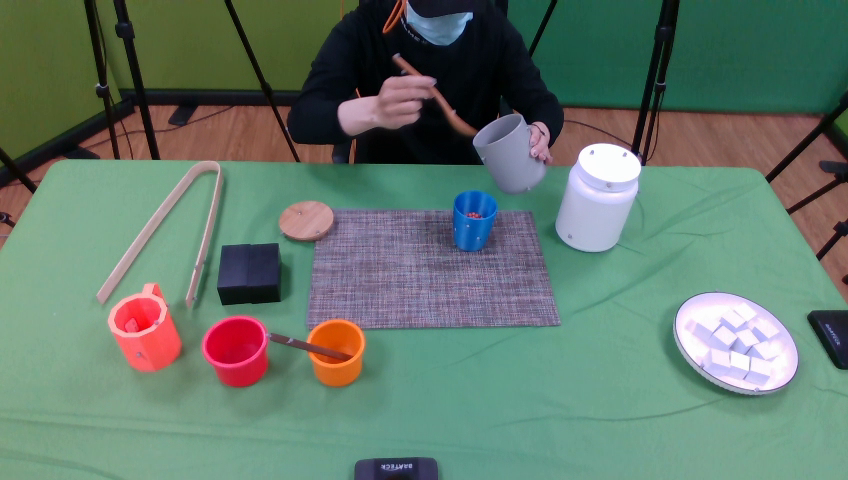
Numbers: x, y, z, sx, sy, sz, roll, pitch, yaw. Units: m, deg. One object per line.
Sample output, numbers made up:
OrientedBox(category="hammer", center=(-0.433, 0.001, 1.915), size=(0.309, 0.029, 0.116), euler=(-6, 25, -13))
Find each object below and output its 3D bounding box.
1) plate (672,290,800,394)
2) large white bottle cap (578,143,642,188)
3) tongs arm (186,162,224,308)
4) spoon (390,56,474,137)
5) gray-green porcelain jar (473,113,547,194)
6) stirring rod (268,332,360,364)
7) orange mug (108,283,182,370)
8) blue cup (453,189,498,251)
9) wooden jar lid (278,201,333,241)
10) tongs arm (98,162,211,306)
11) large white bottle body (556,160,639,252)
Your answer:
OrientedBox(category="plate", center=(0.533, 0.178, 1.050), size=(0.208, 0.039, 0.206), euler=(2, 46, -2))
OrientedBox(category="large white bottle cap", center=(0.344, -0.139, 1.123), size=(0.115, 0.018, 0.114), euler=(2, 46, -2))
OrientedBox(category="tongs arm", center=(-0.435, -0.025, 1.180), size=(0.051, 0.027, 0.382), euler=(-4, 46, 1))
OrientedBox(category="spoon", center=(0.014, -0.241, 1.030), size=(0.021, 0.194, 0.041), euler=(-45, 15, -2))
OrientedBox(category="gray-green porcelain jar", center=(0.168, -0.160, 1.155), size=(0.106, 0.127, 0.105), euler=(-25, 27, 14))
OrientedBox(category="stirring rod", center=(-0.167, 0.169, 0.941), size=(0.177, 0.006, 0.014), euler=(26, 26, -41))
OrientedBox(category="orange mug", center=(-0.445, 0.133, 0.983), size=(0.083, 0.101, 0.125), euler=(-1, 50, -5))
OrientedBox(category="blue cup", center=(0.093, -0.033, 1.173), size=(0.093, 0.101, 0.092), euler=(3, 45, -3))
OrientedBox(category="wooden jar lid", center=(-0.236, -0.036, 1.213), size=(0.108, 0.021, 0.107), euler=(0, 47, 0))
OrientedBox(category="tongs arm", center=(-0.519, -0.026, 1.185), size=(0.028, 0.028, 0.385), euler=(4, 46, 14))
OrientedBox(category="large white bottle body", center=(0.340, -0.081, 1.185), size=(0.131, 0.185, 0.130), euler=(2, 46, -1))
